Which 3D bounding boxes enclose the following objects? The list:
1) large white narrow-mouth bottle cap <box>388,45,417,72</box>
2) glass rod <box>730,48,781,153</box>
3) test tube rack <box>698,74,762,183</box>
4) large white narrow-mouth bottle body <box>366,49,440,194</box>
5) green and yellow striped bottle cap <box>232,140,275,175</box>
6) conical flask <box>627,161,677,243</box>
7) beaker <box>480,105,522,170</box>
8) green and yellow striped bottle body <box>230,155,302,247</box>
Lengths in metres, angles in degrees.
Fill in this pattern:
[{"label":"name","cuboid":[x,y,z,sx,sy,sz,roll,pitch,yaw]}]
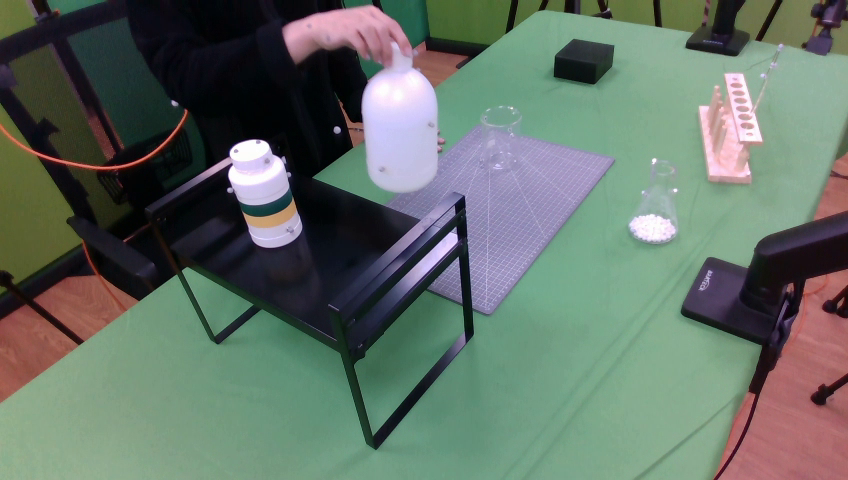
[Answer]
[{"label":"large white narrow-mouth bottle cap","cuboid":[-0.028,-0.233,0.777,0.038,0.024,0.037,1,40,0]},{"label":"glass rod","cuboid":[0.554,-0.228,1.015,0.008,0.200,0.008,1,44,-1]},{"label":"test tube rack","cuboid":[0.547,-0.208,1.095,0.066,0.085,0.242,5,42,15]},{"label":"large white narrow-mouth bottle body","cuboid":[-0.029,-0.166,0.832,0.102,0.195,0.101,0,40,0]},{"label":"green and yellow striped bottle cap","cuboid":[-0.192,-0.093,0.680,0.045,0.020,0.045,-5,39,5]},{"label":"conical flask","cuboid":[0.355,-0.061,0.921,0.075,0.122,0.075,-4,41,4]},{"label":"beaker","cuboid":[0.145,-0.187,1.111,0.084,0.101,0.073,-35,48,-29]},{"label":"green and yellow striped bottle body","cuboid":[-0.188,-0.055,0.714,0.063,0.120,0.063,-4,41,4]}]
